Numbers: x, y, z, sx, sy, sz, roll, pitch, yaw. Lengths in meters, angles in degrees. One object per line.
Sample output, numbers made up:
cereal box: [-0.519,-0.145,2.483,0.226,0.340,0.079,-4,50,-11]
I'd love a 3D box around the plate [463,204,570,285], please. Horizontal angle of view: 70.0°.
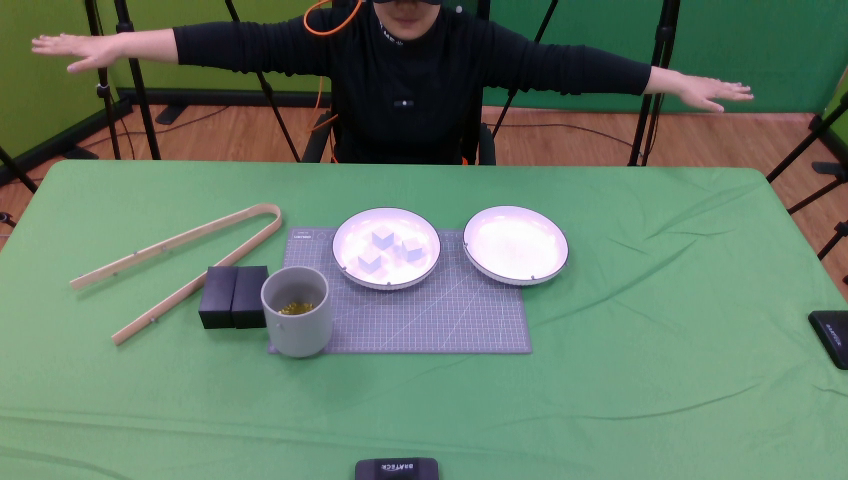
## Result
plate: [0.178,0.011,1.184,0.209,0.038,0.208,3,46,-3]

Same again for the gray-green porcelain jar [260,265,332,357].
gray-green porcelain jar: [-0.205,0.121,0.989,0.106,0.127,0.105,2,46,-2]

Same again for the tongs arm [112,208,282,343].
tongs arm: [-0.397,0.057,1.109,0.028,0.028,0.387,28,50,25]

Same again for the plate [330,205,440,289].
plate: [-0.074,0.017,1.160,0.208,0.039,0.206,2,47,-2]

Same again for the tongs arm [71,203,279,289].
tongs arm: [-0.454,0.011,1.144,0.385,0.026,0.050,-29,55,-29]
